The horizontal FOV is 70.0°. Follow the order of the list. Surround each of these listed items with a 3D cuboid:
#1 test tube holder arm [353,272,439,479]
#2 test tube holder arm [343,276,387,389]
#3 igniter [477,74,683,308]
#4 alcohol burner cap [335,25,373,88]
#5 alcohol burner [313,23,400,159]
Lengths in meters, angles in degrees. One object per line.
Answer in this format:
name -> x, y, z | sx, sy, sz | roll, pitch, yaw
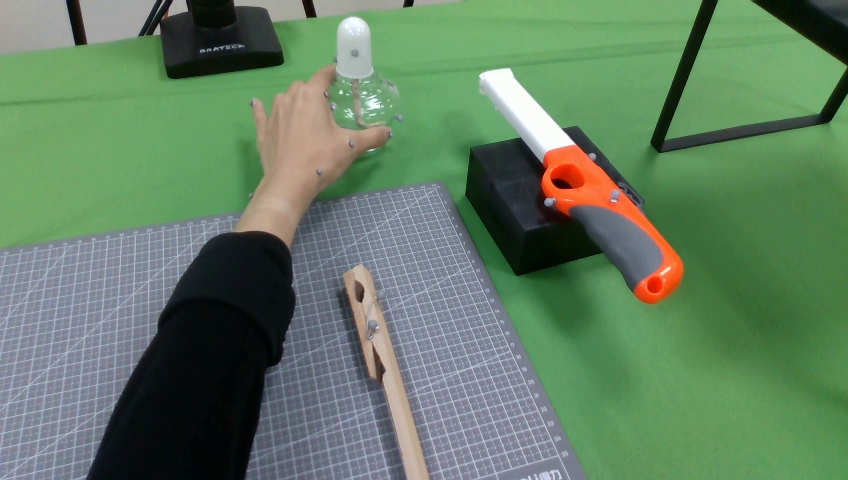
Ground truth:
test tube holder arm -> -0.019, 0.089, 0.380 | 0.013, 0.015, 0.176 | -36, 49, 12
test tube holder arm -> -0.038, 0.061, 0.410 | 0.010, 0.015, 0.087 | -35, 49, 12
igniter -> 0.107, -0.053, 0.461 | 0.057, 0.025, 0.273 | -14, 46, -13
alcohol burner cap -> -0.059, -0.156, 0.510 | 0.034, 0.048, 0.033 | 3, 40, -2
alcohol burner -> -0.060, -0.132, 0.532 | 0.078, 0.120, 0.077 | 1, 43, -1
